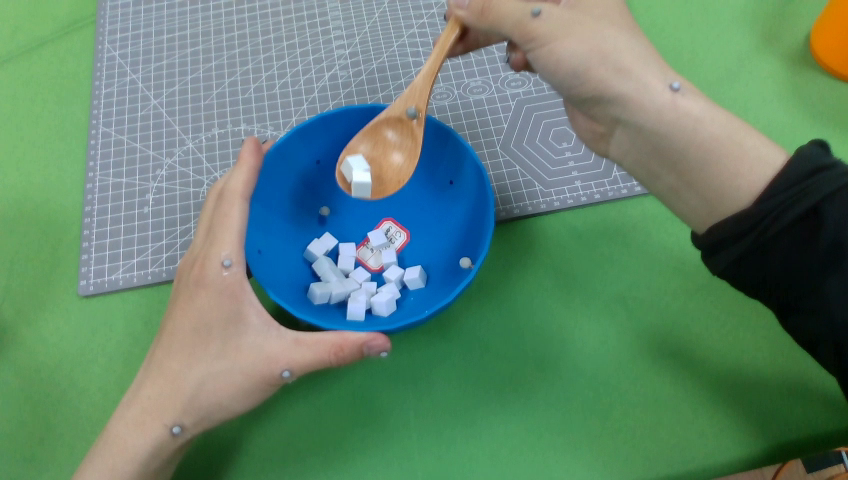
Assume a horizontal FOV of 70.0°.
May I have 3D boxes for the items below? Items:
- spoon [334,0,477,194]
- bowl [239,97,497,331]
[{"bbox_3d":[0.011,-0.108,0.330,0.041,0.022,0.193,29,85,16],"label":"spoon"},{"bbox_3d":[-0.032,-0.007,0.388,0.151,0.077,0.150,0,67,1],"label":"bowl"}]
